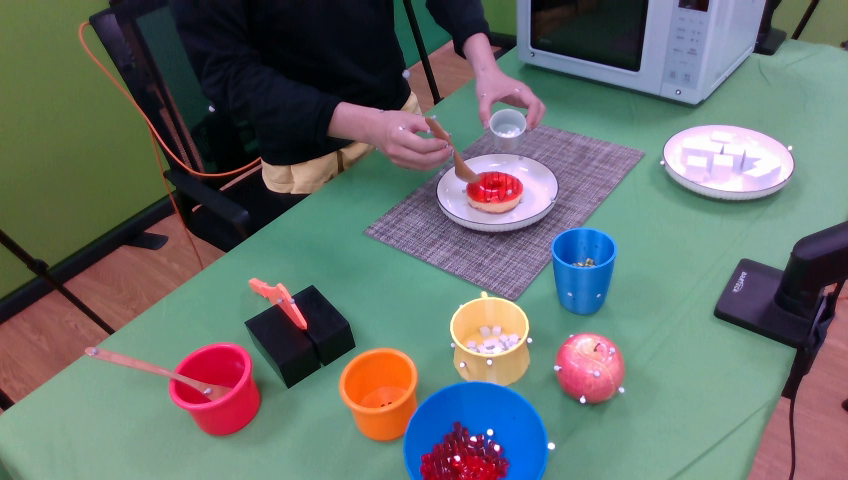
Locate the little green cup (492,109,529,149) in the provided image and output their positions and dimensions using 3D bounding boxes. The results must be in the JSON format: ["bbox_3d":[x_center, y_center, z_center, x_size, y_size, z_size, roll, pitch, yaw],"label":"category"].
[{"bbox_3d":[0.142,-0.183,1.005,0.061,0.039,0.061,1,64,-1],"label":"little green cup"}]

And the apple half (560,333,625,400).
[{"bbox_3d":[0.209,0.147,0.730,0.080,0.075,0.053,26,47,38],"label":"apple half"}]

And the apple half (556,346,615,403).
[{"bbox_3d":[0.181,0.167,0.709,0.080,0.081,0.033,29,50,35],"label":"apple half"}]

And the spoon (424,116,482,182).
[{"bbox_3d":[0.041,-0.131,0.895,0.041,0.195,0.021,7,69,29],"label":"spoon"}]

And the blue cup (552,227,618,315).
[{"bbox_3d":[0.218,0.047,0.825,0.092,0.101,0.092,-6,39,5],"label":"blue cup"}]

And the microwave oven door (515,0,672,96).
[{"bbox_3d":[0.344,-0.455,1.259,0.353,0.245,0.039,26,51,33],"label":"microwave oven door"}]

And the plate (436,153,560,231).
[{"bbox_3d":[0.125,-0.078,1.029,0.209,0.038,0.208,-4,40,4],"label":"plate"}]

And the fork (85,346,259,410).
[{"bbox_3d":[-0.298,0.166,0.727,0.209,0.018,0.028,28,48,-23],"label":"fork"}]

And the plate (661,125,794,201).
[{"bbox_3d":[0.513,-0.128,1.035,0.207,0.039,0.206,-4,40,4],"label":"plate"}]

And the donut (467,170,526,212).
[{"bbox_3d":[0.121,-0.083,1.019,0.099,0.048,0.098,-4,38,4],"label":"donut"}]

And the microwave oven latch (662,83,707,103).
[{"bbox_3d":[0.517,-0.296,1.204,0.078,0.029,0.030,27,52,35],"label":"microwave oven latch"}]

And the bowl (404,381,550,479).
[{"bbox_3d":[0.058,0.235,0.645,0.151,0.077,0.150,-4,39,4],"label":"bowl"}]

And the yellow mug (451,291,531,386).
[{"bbox_3d":[0.086,0.120,0.786,0.100,0.064,0.130,-7,39,1],"label":"yellow mug"}]

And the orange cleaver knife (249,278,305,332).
[{"bbox_3d":[-0.210,0.088,0.855,0.012,0.077,0.210,-28,15,-25],"label":"orange cleaver knife"}]

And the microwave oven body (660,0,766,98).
[{"bbox_3d":[0.472,-0.514,1.317,0.438,0.261,0.327,26,51,34],"label":"microwave oven body"}]
